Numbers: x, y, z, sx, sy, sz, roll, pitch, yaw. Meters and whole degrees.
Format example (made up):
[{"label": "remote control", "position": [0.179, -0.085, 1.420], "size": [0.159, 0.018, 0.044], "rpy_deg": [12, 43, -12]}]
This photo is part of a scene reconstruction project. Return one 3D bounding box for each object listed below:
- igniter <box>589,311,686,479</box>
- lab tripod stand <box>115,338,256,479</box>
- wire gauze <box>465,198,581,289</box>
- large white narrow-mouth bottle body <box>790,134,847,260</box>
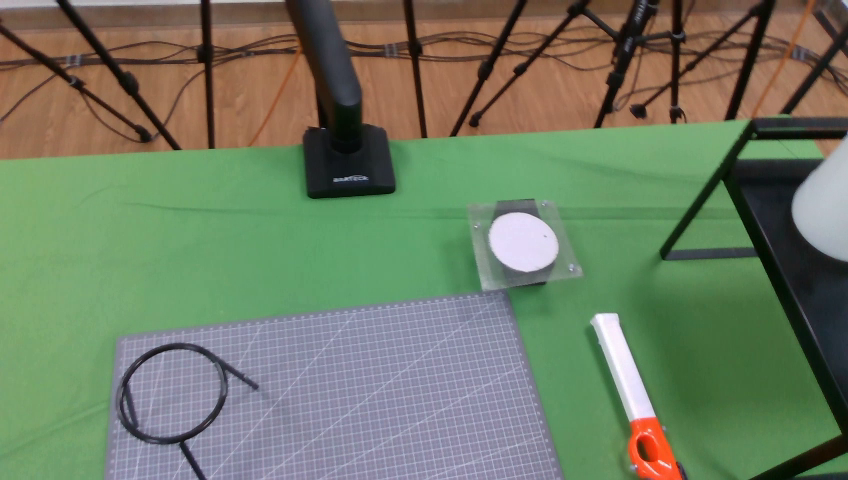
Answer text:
[{"label": "igniter", "position": [0.237, 0.202, 0.659], "size": [0.057, 0.025, 0.273], "rpy_deg": [1, 55, -19]}, {"label": "lab tripod stand", "position": [-0.216, 0.162, 0.563], "size": [0.148, 0.132, 0.147], "rpy_deg": [4, 56, -6]}, {"label": "wire gauze", "position": [0.117, -0.001, 0.735], "size": [0.122, 0.011, 0.124], "rpy_deg": [-4, 57, -9]}, {"label": "large white narrow-mouth bottle body", "position": [0.430, -0.071, 0.546], "size": [0.102, 0.196, 0.101], "rpy_deg": [3, 55, -4]}]
